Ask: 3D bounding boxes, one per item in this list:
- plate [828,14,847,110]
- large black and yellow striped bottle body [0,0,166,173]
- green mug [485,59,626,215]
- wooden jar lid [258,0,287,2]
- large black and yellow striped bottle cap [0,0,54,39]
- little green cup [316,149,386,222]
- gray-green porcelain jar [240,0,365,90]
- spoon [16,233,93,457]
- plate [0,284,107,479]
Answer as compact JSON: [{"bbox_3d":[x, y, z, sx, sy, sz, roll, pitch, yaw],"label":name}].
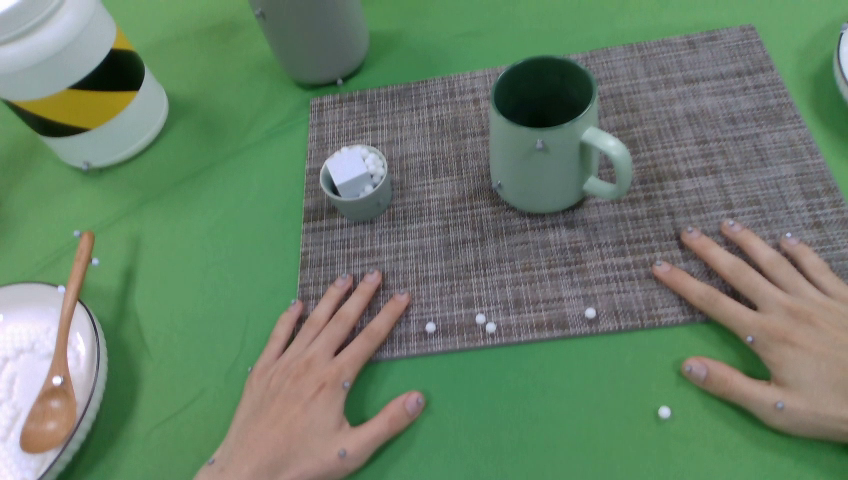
[{"bbox_3d":[0.452,-0.137,0.507,0.207,0.039,0.205,-5,57,8],"label":"plate"},{"bbox_3d":[-0.360,-0.169,0.596,0.130,0.186,0.129,-5,57,8],"label":"large black and yellow striped bottle body"},{"bbox_3d":[0.106,-0.073,0.489,0.124,0.106,0.092,33,69,28],"label":"green mug"},{"bbox_3d":[-0.133,-0.263,0.572,0.108,0.021,0.107,-4,60,8],"label":"wooden jar lid"},{"bbox_3d":[-0.374,-0.212,0.526,0.115,0.019,0.114,-5,56,8],"label":"large black and yellow striped bottle cap"},{"bbox_3d":[-0.063,-0.047,0.545,0.061,0.039,0.061,-4,57,7],"label":"little green cup"},{"bbox_3d":[-0.122,-0.229,0.623,0.106,0.128,0.105,-5,57,8],"label":"gray-green porcelain jar"},{"bbox_3d":[-0.295,0.078,0.498,0.041,0.022,0.192,-6,66,5],"label":"spoon"},{"bbox_3d":[-0.353,0.135,0.492,0.209,0.038,0.207,-5,57,8],"label":"plate"}]
